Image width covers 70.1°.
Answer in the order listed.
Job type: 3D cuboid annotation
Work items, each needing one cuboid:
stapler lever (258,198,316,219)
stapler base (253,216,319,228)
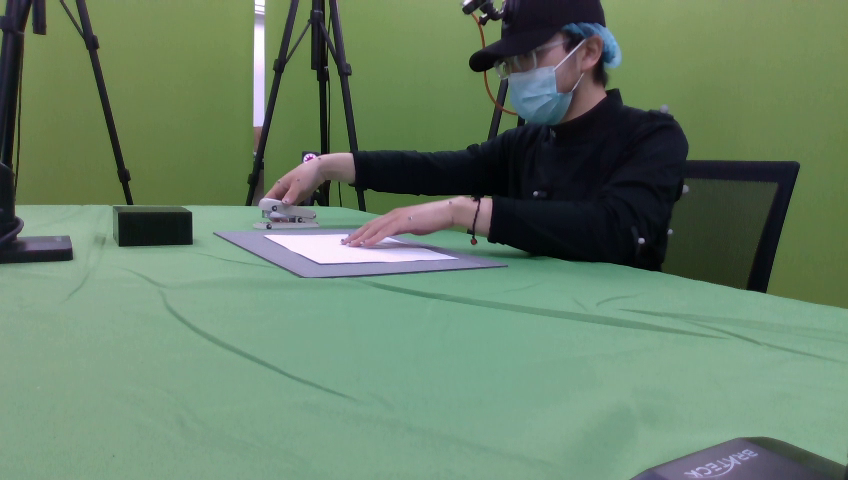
[{"bbox_3d":[-0.271,-0.062,1.201,0.119,0.040,0.026,-1,11,-40],"label":"stapler lever"},{"bbox_3d":[-0.274,-0.037,1.203,0.131,0.024,0.041,-1,11,-40],"label":"stapler base"}]
